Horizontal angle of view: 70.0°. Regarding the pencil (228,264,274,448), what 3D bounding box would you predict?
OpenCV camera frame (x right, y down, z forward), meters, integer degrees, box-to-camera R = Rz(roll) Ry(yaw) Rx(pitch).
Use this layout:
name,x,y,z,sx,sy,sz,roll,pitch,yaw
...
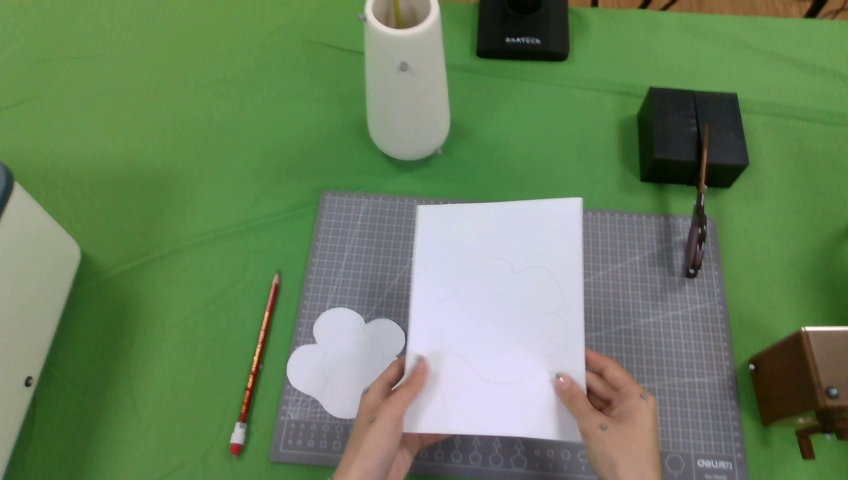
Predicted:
name,x,y,z,sx,sy,sz,roll,pitch,yaw
pencil,-0.173,0.112,0.618,0.012,0.012,0.192,5,63,3

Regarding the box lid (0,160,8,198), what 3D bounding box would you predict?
name,x,y,z,sx,sy,sz,roll,pitch,yaw
box lid,-0.507,0.076,0.466,0.263,0.015,0.368,4,65,2

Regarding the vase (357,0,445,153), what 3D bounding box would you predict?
name,x,y,z,sx,sy,sz,roll,pitch,yaw
vase,-0.026,-0.181,0.648,0.098,0.201,0.097,-1,64,1

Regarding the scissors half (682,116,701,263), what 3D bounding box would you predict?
name,x,y,z,sx,sy,sz,roll,pitch,yaw
scissors half,0.286,-0.058,0.636,0.013,0.040,0.174,8,65,15

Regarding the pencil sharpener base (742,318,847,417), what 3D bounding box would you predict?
name,x,y,z,sx,sy,sz,roll,pitch,yaw
pencil sharpener base,0.352,0.124,0.556,0.061,0.108,0.076,0,65,0

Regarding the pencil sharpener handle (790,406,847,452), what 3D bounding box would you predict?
name,x,y,z,sx,sy,sz,roll,pitch,yaw
pencil sharpener handle,0.348,0.164,0.524,0.036,0.068,0.030,6,64,-12

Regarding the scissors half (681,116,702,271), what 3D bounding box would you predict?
name,x,y,z,sx,sy,sz,roll,pitch,yaw
scissors half,0.291,-0.052,0.655,0.012,0.040,0.174,7,83,20

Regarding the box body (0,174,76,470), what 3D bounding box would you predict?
name,x,y,z,sx,sy,sz,roll,pitch,yaw
box body,-0.506,0.110,0.534,0.254,0.161,0.361,4,65,2

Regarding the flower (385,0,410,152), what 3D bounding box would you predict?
name,x,y,z,sx,sy,sz,roll,pitch,yaw
flower,-0.033,-0.229,0.579,0.044,0.365,0.038,-3,47,3
